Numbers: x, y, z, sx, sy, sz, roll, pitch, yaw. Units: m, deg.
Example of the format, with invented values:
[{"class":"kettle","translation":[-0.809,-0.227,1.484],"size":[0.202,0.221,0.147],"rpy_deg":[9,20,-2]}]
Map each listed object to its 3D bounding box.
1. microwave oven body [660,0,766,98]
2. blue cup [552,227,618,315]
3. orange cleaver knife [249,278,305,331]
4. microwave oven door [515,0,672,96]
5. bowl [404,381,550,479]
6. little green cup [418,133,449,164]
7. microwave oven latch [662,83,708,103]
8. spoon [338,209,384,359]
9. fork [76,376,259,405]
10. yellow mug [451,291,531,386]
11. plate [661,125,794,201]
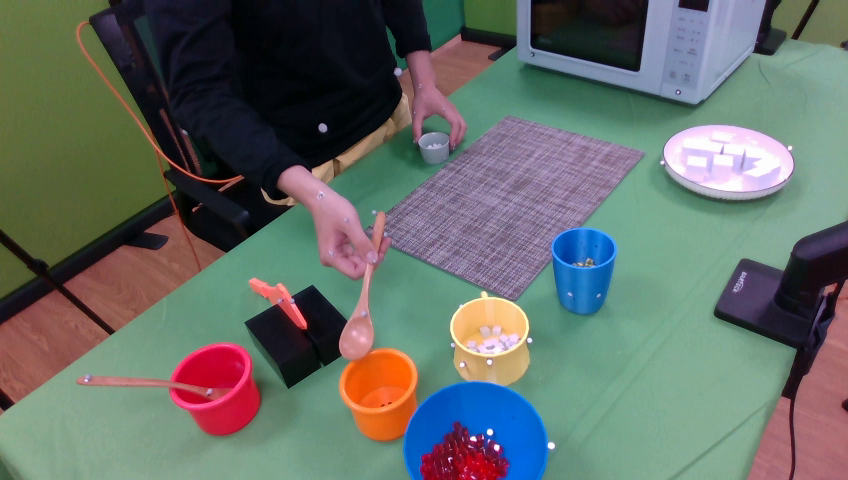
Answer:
[{"class":"microwave oven body","translation":[0.473,-0.513,1.317],"size":[0.438,0.261,0.327],"rpy_deg":[26,51,34]},{"class":"blue cup","translation":[0.218,0.047,0.825],"size":[0.092,0.101,0.092],"rpy_deg":[-6,39,5]},{"class":"orange cleaver knife","translation":[-0.210,0.088,0.856],"size":[0.012,0.077,0.210],"rpy_deg":[-28,15,-25]},{"class":"microwave oven door","translation":[0.343,-0.454,1.259],"size":[0.353,0.245,0.039],"rpy_deg":[26,51,33]},{"class":"bowl","translation":[0.058,0.235,0.645],"size":[0.151,0.077,0.150],"rpy_deg":[-4,39,4]},{"class":"little green cup","translation":[0.020,-0.176,1.169],"size":[0.061,0.039,0.061],"rpy_deg":[-2,38,2]},{"class":"microwave oven latch","translation":[0.518,-0.297,1.205],"size":[0.078,0.029,0.030],"rpy_deg":[29,53,36]},{"class":"spoon","translation":[-0.069,0.050,0.739],"size":[0.041,0.022,0.193],"rpy_deg":[5,73,15]},{"class":"fork","translation":[-0.295,0.176,0.716],"size":[0.209,0.018,0.028],"rpy_deg":[20,27,-37]},{"class":"yellow mug","translation":[0.086,0.120,0.786],"size":[0.100,0.064,0.130],"rpy_deg":[-7,39,1]},{"class":"plate","translation":[0.513,-0.128,1.035],"size":[0.207,0.039,0.206],"rpy_deg":[-4,40,4]}]
